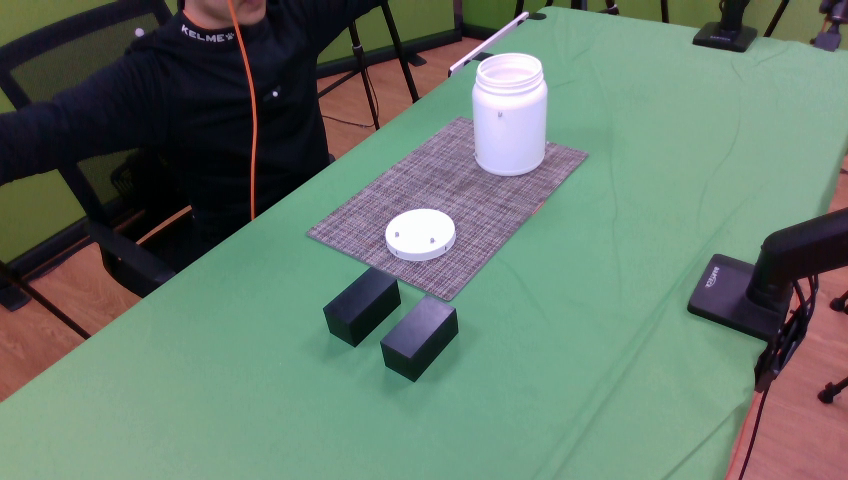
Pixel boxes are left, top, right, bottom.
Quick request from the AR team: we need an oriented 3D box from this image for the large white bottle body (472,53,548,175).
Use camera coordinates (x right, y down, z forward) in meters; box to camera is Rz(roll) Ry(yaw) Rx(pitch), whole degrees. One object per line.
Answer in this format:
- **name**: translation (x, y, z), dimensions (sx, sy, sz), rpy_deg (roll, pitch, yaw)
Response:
- **large white bottle body**: translation (0.152, -0.224, 1.075), dimensions (0.130, 0.185, 0.130), rpy_deg (-4, 41, 4)

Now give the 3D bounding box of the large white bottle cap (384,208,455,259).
- **large white bottle cap**: translation (-0.007, -0.012, 0.980), dimensions (0.115, 0.018, 0.114), rpy_deg (-4, 40, 4)
